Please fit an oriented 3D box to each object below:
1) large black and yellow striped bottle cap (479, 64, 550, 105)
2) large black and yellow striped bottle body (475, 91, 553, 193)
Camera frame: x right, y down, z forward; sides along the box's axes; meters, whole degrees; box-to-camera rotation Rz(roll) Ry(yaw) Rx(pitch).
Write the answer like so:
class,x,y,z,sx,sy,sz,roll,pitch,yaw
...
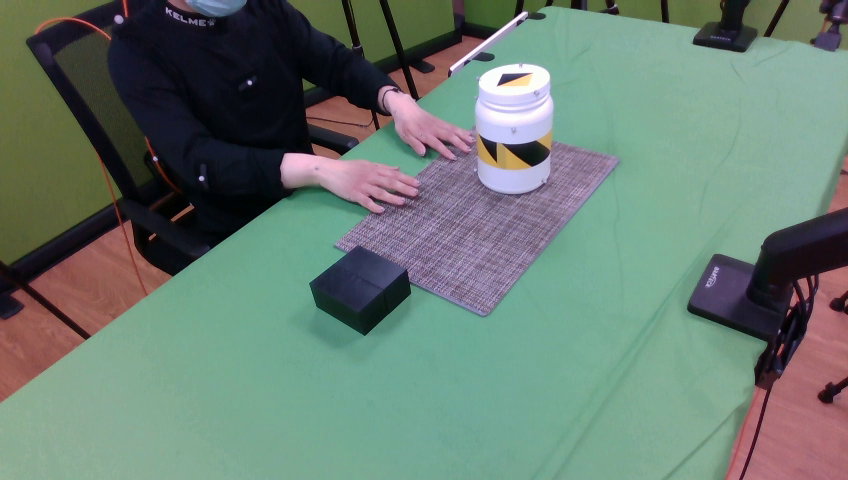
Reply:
class,x,y,z,sx,sy,sz,roll,pitch,yaw
large black and yellow striped bottle cap,0.146,-0.253,0.978,0.115,0.019,0.114,-5,40,5
large black and yellow striped bottle body,0.153,-0.187,1.034,0.131,0.185,0.130,-4,41,4
